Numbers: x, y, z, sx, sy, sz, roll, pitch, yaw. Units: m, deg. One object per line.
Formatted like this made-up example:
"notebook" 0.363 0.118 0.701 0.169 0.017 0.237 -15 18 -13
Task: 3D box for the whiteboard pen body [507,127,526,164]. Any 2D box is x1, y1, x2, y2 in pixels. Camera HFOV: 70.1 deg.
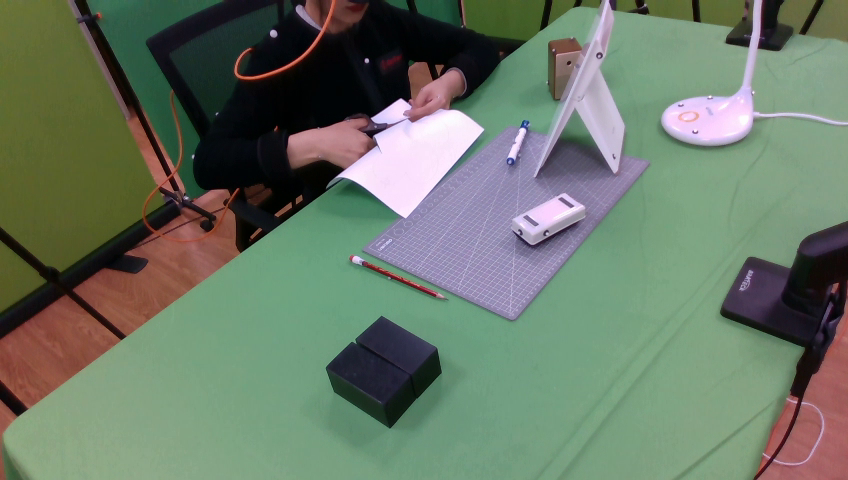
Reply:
"whiteboard pen body" 0.181 -0.189 1.163 0.017 0.017 0.140 7 42 19

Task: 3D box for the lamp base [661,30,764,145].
"lamp base" 0.535 -0.287 1.096 0.179 0.181 0.159 -10 40 -4

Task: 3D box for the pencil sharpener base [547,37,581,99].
"pencil sharpener base" 0.300 -0.368 1.290 0.061 0.107 0.076 -8 40 2

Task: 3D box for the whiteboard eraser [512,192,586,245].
"whiteboard eraser" 0.199 -0.032 0.962 0.113 0.042 0.055 -27 43 -20

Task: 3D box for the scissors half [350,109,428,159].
"scissors half" -0.067 -0.209 1.184 0.175 0.040 0.012 -33 16 8

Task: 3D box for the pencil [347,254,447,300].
"pencil" -0.044 0.058 0.933 0.192 0.012 0.012 22 49 29

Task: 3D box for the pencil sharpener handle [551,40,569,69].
"pencil sharpener handle" 0.291 -0.409 1.321 0.036 0.068 0.030 2 40 -6

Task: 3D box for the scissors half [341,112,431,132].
"scissors half" -0.074 -0.230 1.177 0.175 0.040 0.013 -1 22 -3

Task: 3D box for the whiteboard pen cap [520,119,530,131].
"whiteboard pen cap" 0.200 -0.226 1.204 0.018 0.018 0.033 7 41 18

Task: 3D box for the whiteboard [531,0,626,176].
"whiteboard" 0.321 -0.258 1.050 0.144 0.306 0.217 22 45 5
